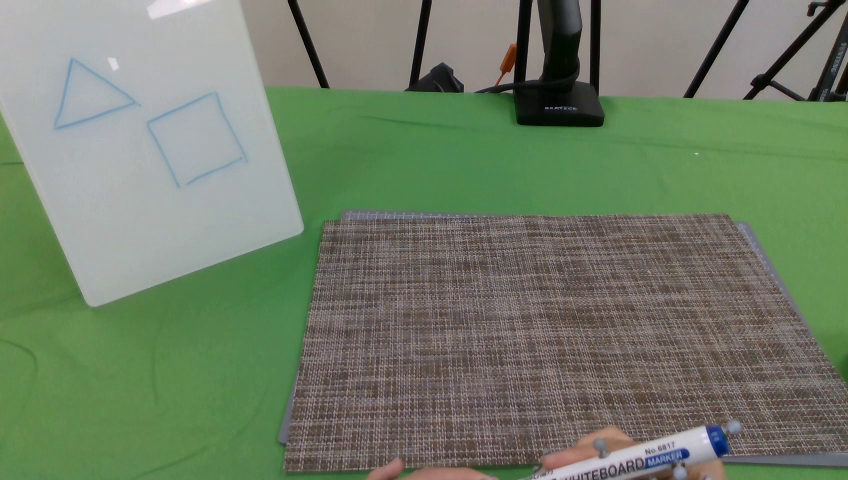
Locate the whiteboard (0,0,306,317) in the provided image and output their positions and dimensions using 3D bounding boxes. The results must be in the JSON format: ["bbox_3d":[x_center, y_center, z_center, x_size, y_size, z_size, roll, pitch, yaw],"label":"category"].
[{"bbox_3d":[-0.279,-0.120,0.604,0.217,0.307,0.142,-22,24,-25],"label":"whiteboard"}]

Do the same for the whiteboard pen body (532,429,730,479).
[{"bbox_3d":[0.081,0.121,0.304,0.140,0.017,0.017,-26,32,22],"label":"whiteboard pen body"}]
